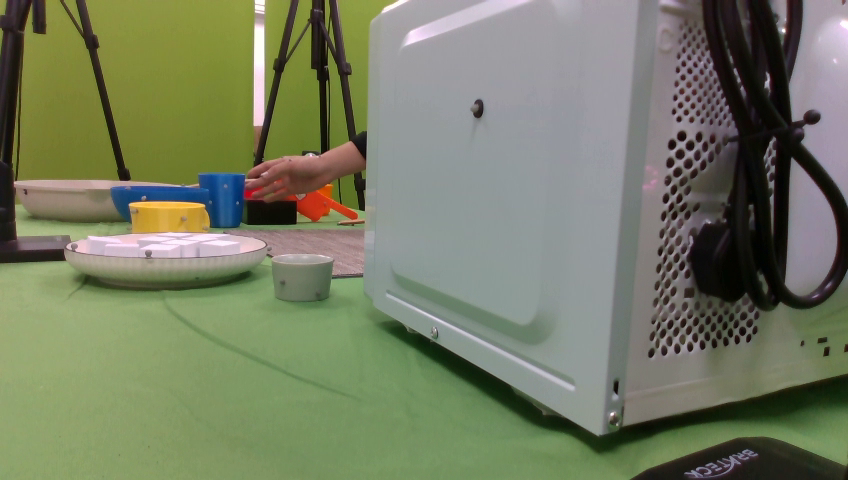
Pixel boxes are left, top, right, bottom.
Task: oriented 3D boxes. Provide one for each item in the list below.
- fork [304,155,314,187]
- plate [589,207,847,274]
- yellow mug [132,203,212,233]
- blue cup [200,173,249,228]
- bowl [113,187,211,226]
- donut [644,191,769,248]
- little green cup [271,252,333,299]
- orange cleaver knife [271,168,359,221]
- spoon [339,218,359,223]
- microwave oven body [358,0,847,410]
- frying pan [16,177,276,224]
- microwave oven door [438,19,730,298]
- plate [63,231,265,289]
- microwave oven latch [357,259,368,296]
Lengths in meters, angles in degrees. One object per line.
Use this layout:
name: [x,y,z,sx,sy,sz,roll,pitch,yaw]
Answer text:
fork: [-0.268,-0.134,1.446,0.028,0.018,0.207,2,-36,-1]
plate: [0.245,-0.002,0.510,0.209,0.038,0.209,3,7,0]
yellow mug: [-0.356,-0.020,0.878,0.099,0.064,0.131,4,7,22]
blue cup: [-0.380,-0.076,1.155,0.093,0.100,0.092,0,8,0]
bowl: [-0.436,-0.046,1.013,0.151,0.077,0.151,2,7,0]
donut: [0.240,-0.017,0.518,0.099,0.048,0.099,2,4,0]
little green cup: [-0.122,0.035,0.605,0.061,0.038,0.061,3,7,0]
orange cleaver knife: [-0.236,-0.083,1.332,0.212,0.077,0.012,31,-9,-31]
spoon: [-0.087,-0.041,1.268,0.193,0.021,0.041,4,20,13]
microwave oven body: [0.210,-0.051,0.471,0.444,0.260,0.324,-1,7,-28]
frying pan: [-0.553,-0.097,1.265,0.490,0.102,0.305,-10,13,-24]
microwave oven door: [0.181,-0.076,0.618,0.358,0.243,0.039,-2,8,-28]
plate: [-0.288,0.021,0.687,0.208,0.039,0.207,2,8,0]
microwave oven latch: [-0.019,0.031,0.528,0.079,0.029,0.030,-1,7,-25]
